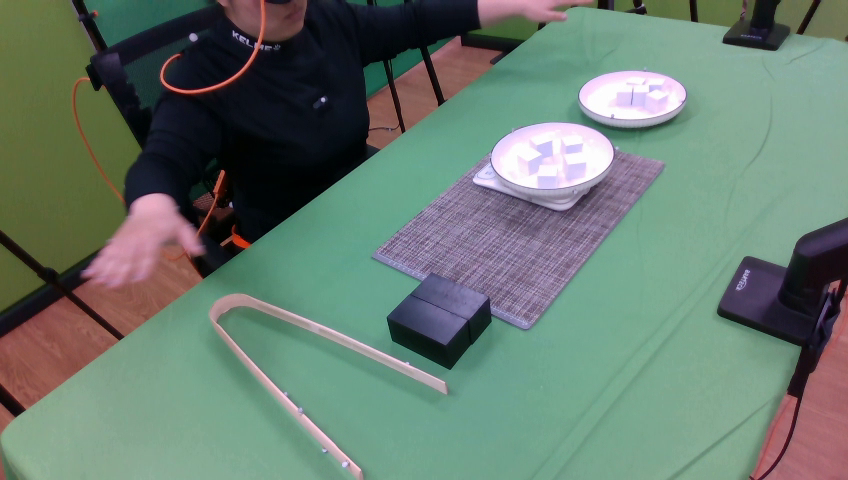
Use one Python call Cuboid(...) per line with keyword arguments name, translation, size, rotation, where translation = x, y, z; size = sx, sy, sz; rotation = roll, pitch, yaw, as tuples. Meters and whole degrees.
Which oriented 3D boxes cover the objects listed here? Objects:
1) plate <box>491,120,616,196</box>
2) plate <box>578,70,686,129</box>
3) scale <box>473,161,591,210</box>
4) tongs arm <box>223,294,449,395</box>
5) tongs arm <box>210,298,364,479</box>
Cuboid(name="plate", translation=(0.220, -0.137, 1.038), size=(0.207, 0.039, 0.206), rotation=(-6, 41, 5))
Cuboid(name="plate", translation=(0.416, -0.280, 1.221), size=(0.209, 0.038, 0.208), rotation=(-5, 41, 5))
Cuboid(name="scale", translation=(0.202, -0.121, 1.074), size=(0.199, 0.032, 0.149), rotation=(23, 49, 33))
Cuboid(name="tongs arm", translation=(-0.134, 0.139, 0.840), size=(0.385, 0.028, 0.028), rotation=(17, 48, 28))
Cuboid(name="tongs arm", translation=(-0.186, 0.180, 0.794), size=(0.381, 0.026, 0.051), rotation=(28, 51, 37))
